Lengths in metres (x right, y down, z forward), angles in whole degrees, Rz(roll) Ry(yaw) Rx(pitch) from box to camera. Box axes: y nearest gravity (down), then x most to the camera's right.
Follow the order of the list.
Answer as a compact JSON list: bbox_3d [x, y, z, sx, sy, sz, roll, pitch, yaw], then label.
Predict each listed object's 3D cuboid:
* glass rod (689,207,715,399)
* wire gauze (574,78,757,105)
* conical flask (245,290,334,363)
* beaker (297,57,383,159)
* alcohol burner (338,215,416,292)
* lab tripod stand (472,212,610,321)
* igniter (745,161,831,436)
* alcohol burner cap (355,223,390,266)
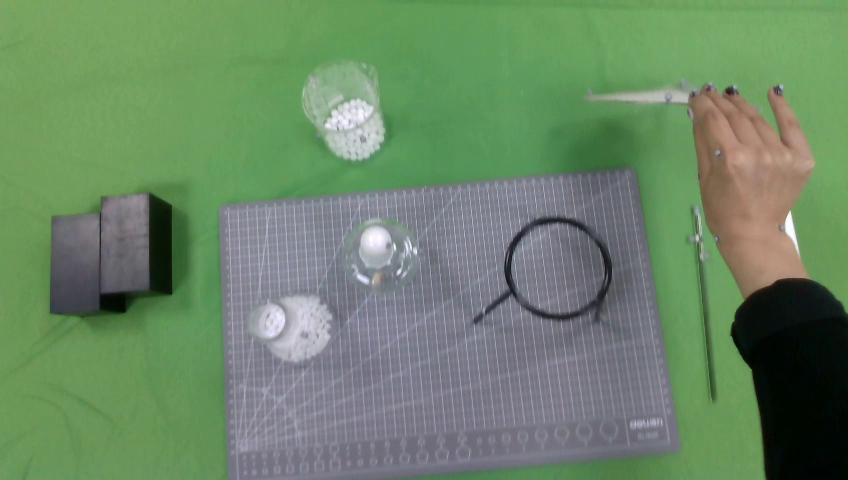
[{"bbox_3d":[0.286,0.062,0.624,0.008,0.008,0.199,-1,79,1],"label":"glass rod"},{"bbox_3d":[0.224,-0.141,0.579,0.125,0.120,0.011,-5,111,-8],"label":"wire gauze"},{"bbox_3d":[-0.132,0.079,0.572,0.075,0.122,0.075,0,80,2],"label":"conical flask"},{"bbox_3d":[-0.080,-0.132,0.622,0.074,0.100,0.084,43,83,8],"label":"beaker"},{"bbox_3d":[-0.047,0.010,0.586,0.078,0.119,0.077,0,79,0],"label":"alcohol burner"},{"bbox_3d":[0.110,0.035,0.568,0.148,0.132,0.148,0,82,2],"label":"lab tripod stand"},{"bbox_3d":[0.368,0.055,0.615,0.057,0.025,0.275,-4,80,-10],"label":"igniter"},{"bbox_3d":[-0.046,0.001,0.551,0.034,0.048,0.033,2,73,-5],"label":"alcohol burner cap"}]
